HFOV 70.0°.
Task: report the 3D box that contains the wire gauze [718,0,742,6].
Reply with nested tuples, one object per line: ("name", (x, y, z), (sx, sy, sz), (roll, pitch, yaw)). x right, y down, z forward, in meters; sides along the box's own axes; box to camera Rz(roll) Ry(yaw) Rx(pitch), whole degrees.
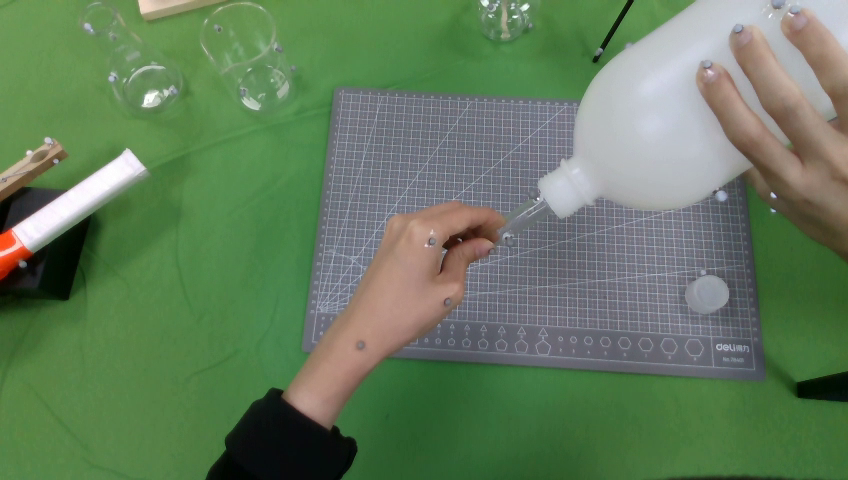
("wire gauze", (0.265, -0.289, 0.585), (0.121, 0.011, 0.124), (24, 74, 6))

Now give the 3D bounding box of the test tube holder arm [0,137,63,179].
("test tube holder arm", (-0.427, -0.040, 0.580), (0.178, 0.015, 0.013), (-40, 76, -13))

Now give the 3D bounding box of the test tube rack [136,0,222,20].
("test tube rack", (-0.225, -0.336, 0.695), (0.242, 0.085, 0.066), (-17, 72, -6))

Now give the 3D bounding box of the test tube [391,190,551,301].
("test tube", (0.030, 0.008, 0.432), (0.150, 0.017, 0.017), (-34, 69, 32))

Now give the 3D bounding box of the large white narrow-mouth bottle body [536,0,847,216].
("large white narrow-mouth bottle body", (0.154, -0.077, 0.353), (0.194, 0.102, 0.101), (-34, 72, 17))

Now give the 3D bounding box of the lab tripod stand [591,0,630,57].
("lab tripod stand", (0.257, -0.266, 0.649), (0.148, 0.132, 0.147), (1, 70, -1))

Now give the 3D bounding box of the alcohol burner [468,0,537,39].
("alcohol burner", (0.088, -0.278, 0.663), (0.078, 0.120, 0.077), (1, 70, -1))

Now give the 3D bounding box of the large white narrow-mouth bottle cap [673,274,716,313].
("large white narrow-mouth bottle cap", (0.269, 0.053, 0.600), (0.038, 0.024, 0.037), (0, 73, 0))

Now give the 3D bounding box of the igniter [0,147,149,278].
("igniter", (-0.385, 0.005, 0.562), (0.276, 0.025, 0.057), (-40, 78, -16))

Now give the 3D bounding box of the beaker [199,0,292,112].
("beaker", (-0.184, -0.186, 0.638), (0.074, 0.101, 0.083), (18, 73, 7))

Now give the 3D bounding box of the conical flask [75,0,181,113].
("conical flask", (-0.310, -0.193, 0.627), (0.075, 0.122, 0.075), (0, 71, 0))

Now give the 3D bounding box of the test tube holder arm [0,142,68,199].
("test tube holder arm", (-0.390, -0.064, 0.589), (0.088, 0.015, 0.010), (-39, 76, -13))
